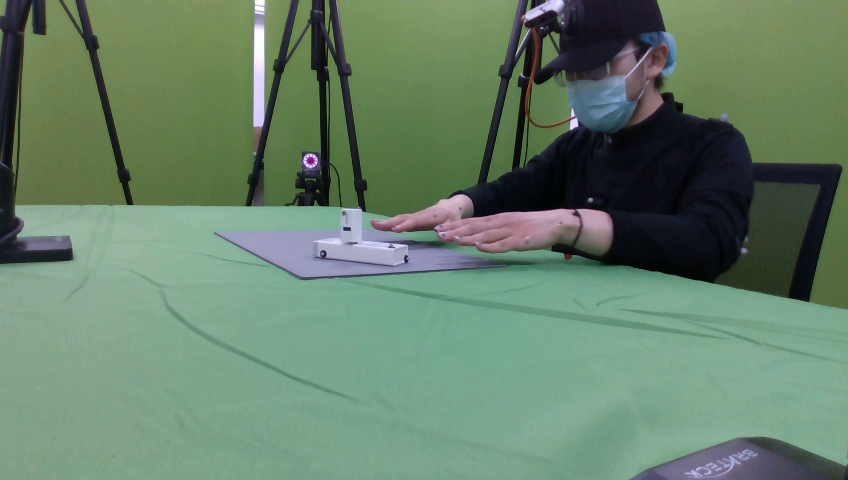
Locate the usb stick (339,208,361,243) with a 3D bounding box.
[{"bbox_3d":[-0.100,-0.013,0.815,0.021,0.059,0.027,5,10,20],"label":"usb stick"}]

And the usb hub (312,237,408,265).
[{"bbox_3d":[-0.088,0.014,0.829,0.125,0.025,0.050,5,8,22],"label":"usb hub"}]
